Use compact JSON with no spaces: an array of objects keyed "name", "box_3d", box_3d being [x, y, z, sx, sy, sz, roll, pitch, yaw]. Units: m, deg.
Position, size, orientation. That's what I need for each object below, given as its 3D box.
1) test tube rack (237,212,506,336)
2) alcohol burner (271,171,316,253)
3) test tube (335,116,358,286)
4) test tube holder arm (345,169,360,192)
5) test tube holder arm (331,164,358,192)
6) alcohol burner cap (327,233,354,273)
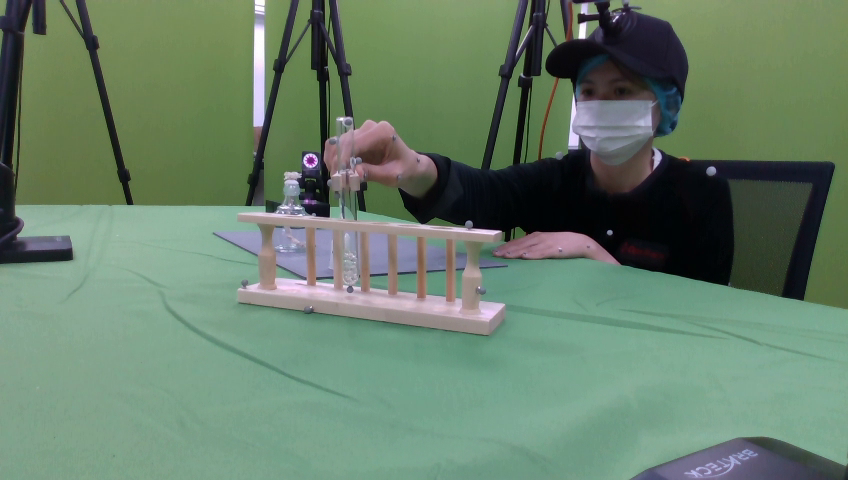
[{"name":"test tube rack","box_3d":[-0.049,0.024,0.552,0.242,0.085,0.067,5,8,18]},{"name":"alcohol burner","box_3d":[-0.196,-0.041,0.884,0.078,0.119,0.078,3,5,0]},{"name":"test tube","box_3d":[-0.068,-0.033,0.534,0.017,0.150,0.017,-1,8,0]},{"name":"test tube holder arm","box_3d":[-0.066,-0.056,0.554,0.010,0.015,0.087,1,11,-11]},{"name":"test tube holder arm","box_3d":[-0.076,-0.064,0.598,0.013,0.015,0.178,3,10,-4]},{"name":"alcohol burner cap","box_3d":[-0.104,0.016,0.751,0.034,0.048,0.034,3,6,0]}]
